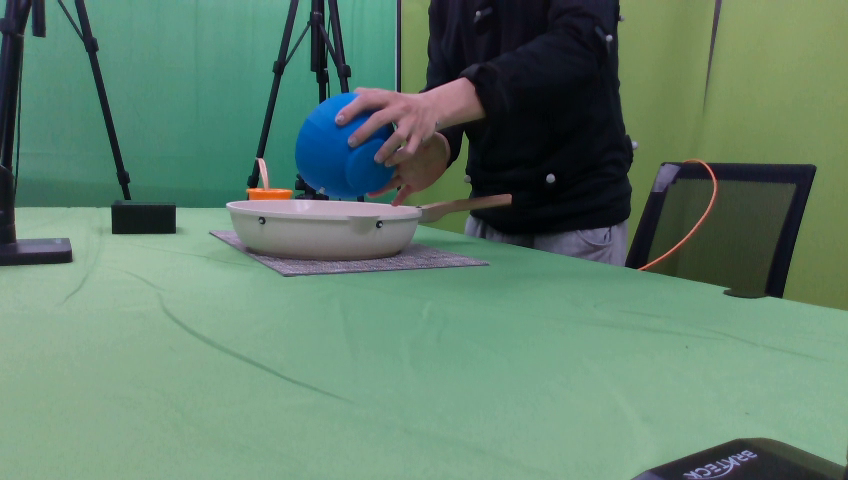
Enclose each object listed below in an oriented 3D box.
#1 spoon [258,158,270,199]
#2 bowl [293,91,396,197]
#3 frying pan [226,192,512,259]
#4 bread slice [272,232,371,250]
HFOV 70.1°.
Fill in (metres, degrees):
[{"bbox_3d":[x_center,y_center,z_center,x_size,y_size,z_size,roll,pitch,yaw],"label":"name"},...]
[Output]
[{"bbox_3d":[-0.332,-0.107,1.269,0.042,0.021,0.193,1,52,-24],"label":"spoon"},{"bbox_3d":[-0.091,-0.116,0.817,0.152,0.151,0.076,-4,32,-41],"label":"bowl"},{"bbox_3d":[-0.058,-0.041,0.975,0.490,0.102,0.305,-11,13,-26],"label":"frying pan"},{"bbox_3d":[-0.148,0.001,0.929,0.133,0.018,0.107,4,7,38],"label":"bread slice"}]
